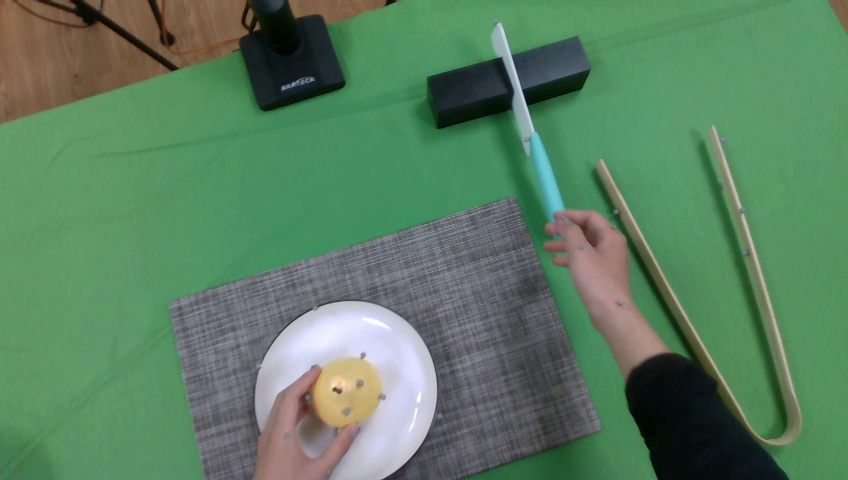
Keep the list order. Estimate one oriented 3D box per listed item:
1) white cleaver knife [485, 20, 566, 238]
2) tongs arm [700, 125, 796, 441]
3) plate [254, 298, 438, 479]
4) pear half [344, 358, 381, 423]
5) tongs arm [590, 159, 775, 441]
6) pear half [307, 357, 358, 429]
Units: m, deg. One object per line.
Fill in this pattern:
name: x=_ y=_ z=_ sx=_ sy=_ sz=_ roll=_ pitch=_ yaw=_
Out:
white cleaver knife: x=0.126 y=-0.139 z=0.764 sx=0.021 sy=0.066 sz=0.285 roll=-16 pitch=85 yaw=0
tongs arm: x=0.379 y=0.042 z=0.734 sx=0.051 sy=0.026 sz=0.382 roll=-12 pitch=77 yaw=-1
plate: x=-0.087 y=0.171 z=0.696 sx=0.208 sy=0.039 sz=0.206 roll=0 pitch=75 yaw=0
pear half: x=-0.064 y=0.161 z=0.662 sx=0.031 sy=0.088 sz=0.070 roll=-13 pitch=71 yaw=-1
tongs arm: x=0.301 y=0.066 z=0.734 sx=0.028 sy=0.028 sz=0.385 roll=-24 pitch=77 yaw=-8
pear half: x=-0.100 y=0.164 z=0.651 sx=0.056 sy=0.110 sz=0.076 roll=-11 pitch=70 yaw=-3
